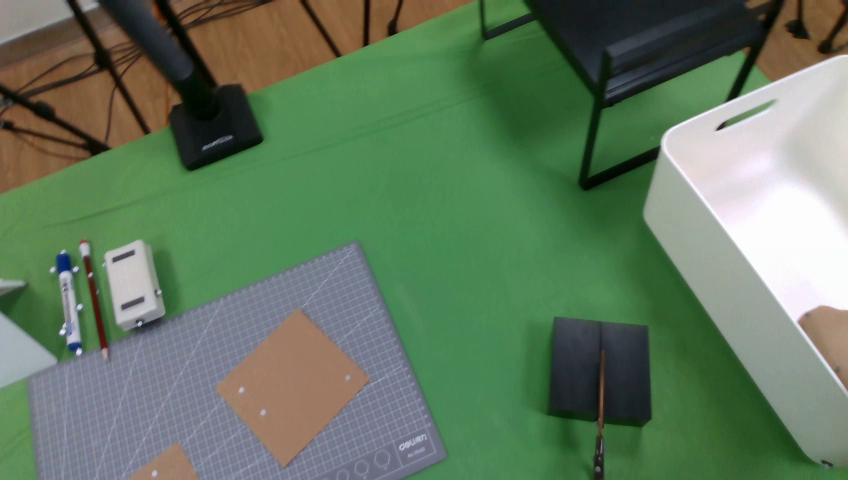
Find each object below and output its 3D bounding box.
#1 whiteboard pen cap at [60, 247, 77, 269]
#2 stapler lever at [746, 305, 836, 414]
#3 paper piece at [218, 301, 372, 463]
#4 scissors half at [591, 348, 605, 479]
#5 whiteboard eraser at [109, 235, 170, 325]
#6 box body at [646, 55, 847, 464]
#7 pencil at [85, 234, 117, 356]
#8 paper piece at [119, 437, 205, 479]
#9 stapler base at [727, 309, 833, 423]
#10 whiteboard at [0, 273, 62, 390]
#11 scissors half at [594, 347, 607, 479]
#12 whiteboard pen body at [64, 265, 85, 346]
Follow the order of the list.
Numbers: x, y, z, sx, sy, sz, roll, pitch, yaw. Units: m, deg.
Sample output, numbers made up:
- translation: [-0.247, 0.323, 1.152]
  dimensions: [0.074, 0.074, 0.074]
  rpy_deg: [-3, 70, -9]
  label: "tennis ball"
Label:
- translation: [-0.482, 0.027, 0.823]
  dimensions: [0.018, 0.018, 0.033]
  rpy_deg: [-24, 63, -5]
  label: "whiteboard pen cap"
- translation: [0.385, 0.121, 0.635]
  dimensions: [0.027, 0.040, 0.117]
  rpy_deg: [-28, 67, -3]
  label: "stapler lever"
- translation: [-0.155, 0.165, 0.720]
  dimensions: [0.137, 0.009, 0.136]
  rpy_deg: [41, 80, 20]
  label: "paper piece"
- translation: [0.181, 0.199, 0.625]
  dimensions: [0.013, 0.040, 0.174]
  rpy_deg: [4, 85, 7]
  label: "scissors half"
- translation: [-0.367, 0.052, 0.784]
  dimensions: [0.055, 0.042, 0.111]
  rpy_deg: [-24, 64, -4]
  label: "whiteboard eraser"
- translation: [0.436, 0.019, 0.634]
  dimensions: [0.254, 0.162, 0.360]
  rpy_deg: [-23, 64, -4]
  label: "box body"
- translation: [-0.426, 0.069, 0.800]
  dimensions: [0.012, 0.012, 0.192]
  rpy_deg: [-25, 64, -5]
  label: "pencil"
- translation: [-0.297, 0.312, 0.665]
  dimensions: [0.135, 0.004, 0.134]
  rpy_deg: [-36, 67, -12]
  label: "paper piece"
- translation: [0.387, 0.131, 0.658]
  dimensions: [0.041, 0.024, 0.129]
  rpy_deg: [-28, 66, -3]
  label: "stapler base"
- translation: [-0.612, 0.051, 0.701]
  dimensions: [0.217, 0.309, 0.142]
  rpy_deg: [-23, 44, -4]
  label: "whiteboard"
- translation: [0.178, 0.194, 0.606]
  dimensions: [0.013, 0.040, 0.174]
  rpy_deg: [2, 68, 12]
  label: "scissors half"
- translation: [-0.462, 0.075, 0.798]
  dimensions: [0.017, 0.017, 0.139]
  rpy_deg: [-22, 63, -4]
  label: "whiteboard pen body"
